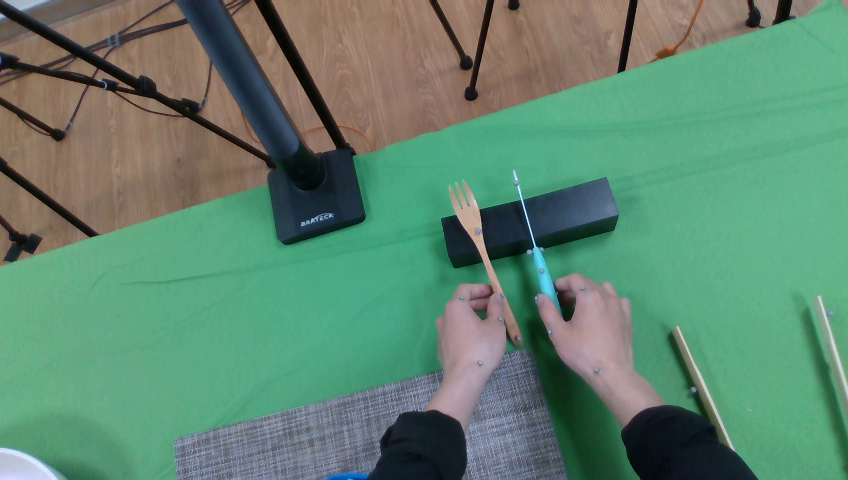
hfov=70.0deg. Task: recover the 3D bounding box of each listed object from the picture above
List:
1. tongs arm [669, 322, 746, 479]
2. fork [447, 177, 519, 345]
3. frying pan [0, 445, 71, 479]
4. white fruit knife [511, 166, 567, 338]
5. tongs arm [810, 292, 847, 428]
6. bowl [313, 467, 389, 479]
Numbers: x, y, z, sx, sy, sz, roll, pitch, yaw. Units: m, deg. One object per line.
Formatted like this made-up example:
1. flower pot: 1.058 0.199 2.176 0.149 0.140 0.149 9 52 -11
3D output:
1. tongs arm: 0.339 0.261 0.608 0.028 0.028 0.384 -20 69 1
2. fork: 0.071 0.026 0.706 0.028 0.018 0.207 -22 89 -21
3. frying pan: -0.484 0.475 0.646 0.307 0.104 0.483 -17 60 5
4. white fruit knife: 0.129 0.013 0.699 0.016 0.027 0.207 -17 86 10
5. tongs arm: 0.417 0.242 0.595 0.050 0.027 0.382 -9 71 9
6. bowl: -0.068 0.317 0.633 0.151 0.077 0.150 -3 70 10
